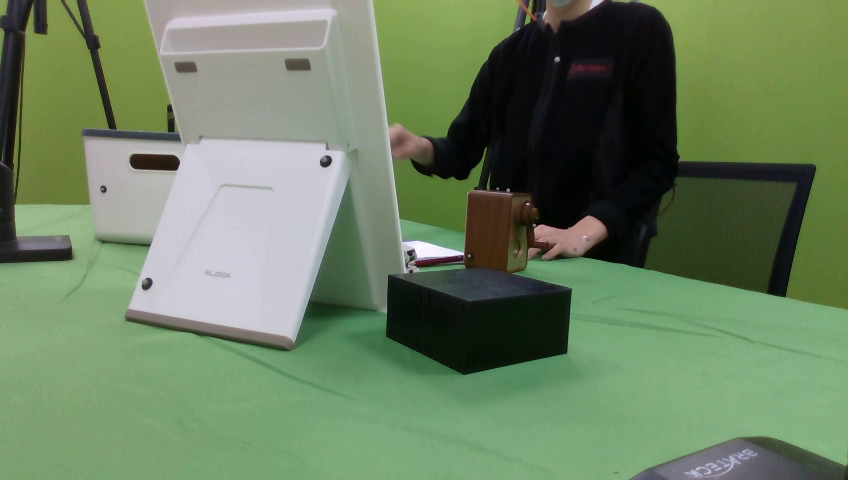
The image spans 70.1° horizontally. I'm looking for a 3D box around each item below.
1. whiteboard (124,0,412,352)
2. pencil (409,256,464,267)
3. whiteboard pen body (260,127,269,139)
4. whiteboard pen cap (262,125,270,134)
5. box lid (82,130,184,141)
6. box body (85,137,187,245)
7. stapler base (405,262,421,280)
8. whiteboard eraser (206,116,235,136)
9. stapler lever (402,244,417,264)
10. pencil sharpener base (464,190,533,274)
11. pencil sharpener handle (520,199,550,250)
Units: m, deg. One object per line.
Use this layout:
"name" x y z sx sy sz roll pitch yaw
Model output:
"whiteboard" -0.151 -0.049 0.472 0.216 0.305 0.144 6 27 24
"pencil" 0.042 0.028 0.848 0.012 0.012 0.195 10 10 43
"whiteboard pen body" -0.366 -0.247 1.392 0.017 0.017 0.140 0 3 -17
"whiteboard pen cap" -0.349 -0.244 1.337 0.018 0.018 0.033 0 2 -17
"box lid" -0.337 -0.161 1.011 0.263 0.015 0.372 4 7 11
"box body" -0.340 -0.088 1.022 0.254 0.160 0.364 4 7 11
"stapler base" -0.069 0.027 0.759 0.130 0.024 0.041 9 13 23
"whiteboard eraser" -0.450 -0.252 1.335 0.056 0.042 0.112 1 7 -22
"stapler lever" -0.066 0.003 0.755 0.117 0.040 0.027 9 13 23
"pencil sharpener base" 0.102 -0.012 0.812 0.076 0.107 0.061 8 9 36
"pencil sharpener handle" 0.147 -0.019 0.785 0.030 0.068 0.036 8 25 36
